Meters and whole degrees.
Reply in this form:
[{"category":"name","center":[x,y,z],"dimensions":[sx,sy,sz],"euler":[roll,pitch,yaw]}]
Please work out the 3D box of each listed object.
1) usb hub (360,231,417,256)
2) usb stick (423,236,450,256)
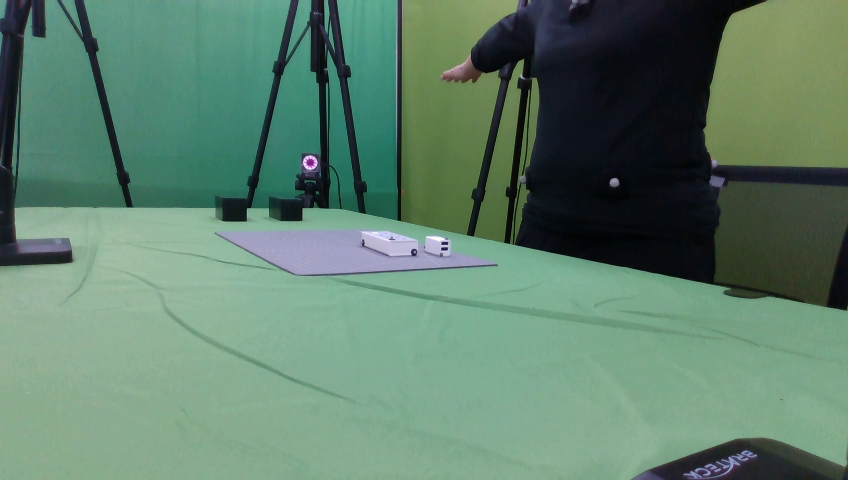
[{"category":"usb hub","center":[-0.059,0.004,0.951],"dimensions":[0.050,0.025,0.124],"euler":[-1,8,-26]},{"category":"usb stick","center":[0.017,0.009,0.937],"dimensions":[0.021,0.027,0.059],"euler":[-1,5,-29]}]
